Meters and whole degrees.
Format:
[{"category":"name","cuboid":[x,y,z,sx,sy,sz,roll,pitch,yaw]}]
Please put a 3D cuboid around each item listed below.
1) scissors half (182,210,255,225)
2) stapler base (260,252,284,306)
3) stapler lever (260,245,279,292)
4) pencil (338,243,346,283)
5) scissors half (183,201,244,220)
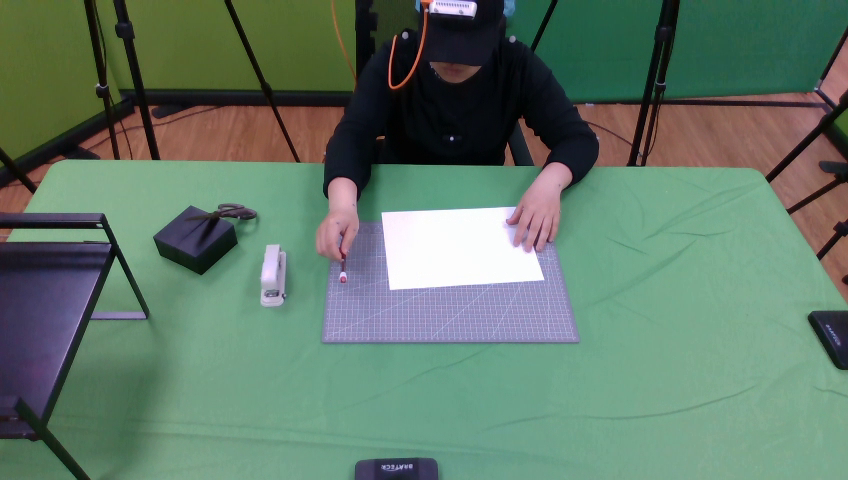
[{"category":"scissors half","cuboid":[-0.389,-0.042,1.158,0.040,0.013,0.175,41,21,22]},{"category":"stapler base","cuboid":[-0.279,0.064,1.113,0.041,0.024,0.129,-1,44,-10]},{"category":"stapler lever","cuboid":[-0.279,0.045,1.096,0.027,0.040,0.117,-1,44,-9]},{"category":"pencil","cuboid":[-0.141,0.036,1.059,0.012,0.012,0.193,-1,18,-5]},{"category":"scissors half","cuboid":[-0.405,-0.054,1.163,0.040,0.013,0.175,29,18,7]}]
